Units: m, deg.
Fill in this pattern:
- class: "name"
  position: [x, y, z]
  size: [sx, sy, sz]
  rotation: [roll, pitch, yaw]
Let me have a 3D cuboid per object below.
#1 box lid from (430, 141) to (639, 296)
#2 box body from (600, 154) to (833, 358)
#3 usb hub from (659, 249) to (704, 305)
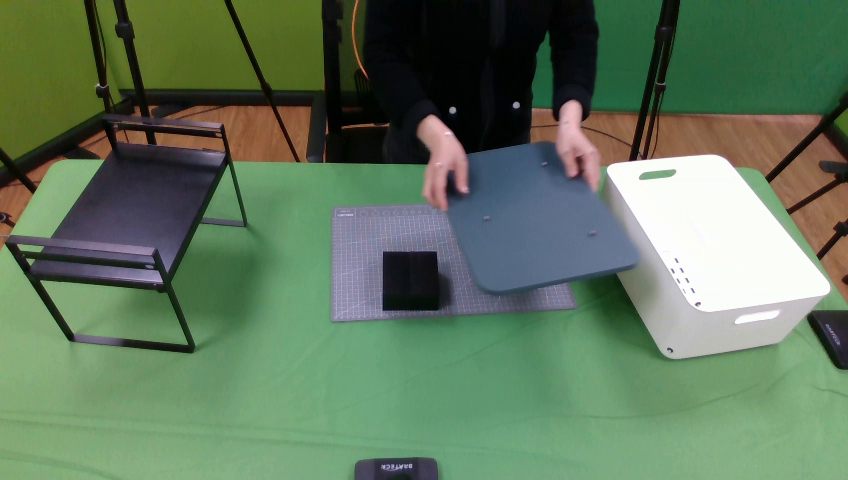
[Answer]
- class: "box lid"
  position: [0.170, -0.056, 1.033]
  size: [0.263, 0.015, 0.369]
  rotation: [-10, 42, -8]
- class: "box body"
  position: [0.497, 0.022, 1.112]
  size: [0.254, 0.161, 0.361]
  rotation: [-7, 47, -10]
- class: "usb hub"
  position: [0.481, 0.070, 1.152]
  size: [0.049, 0.025, 0.124]
  rotation: [-4, 45, -6]
